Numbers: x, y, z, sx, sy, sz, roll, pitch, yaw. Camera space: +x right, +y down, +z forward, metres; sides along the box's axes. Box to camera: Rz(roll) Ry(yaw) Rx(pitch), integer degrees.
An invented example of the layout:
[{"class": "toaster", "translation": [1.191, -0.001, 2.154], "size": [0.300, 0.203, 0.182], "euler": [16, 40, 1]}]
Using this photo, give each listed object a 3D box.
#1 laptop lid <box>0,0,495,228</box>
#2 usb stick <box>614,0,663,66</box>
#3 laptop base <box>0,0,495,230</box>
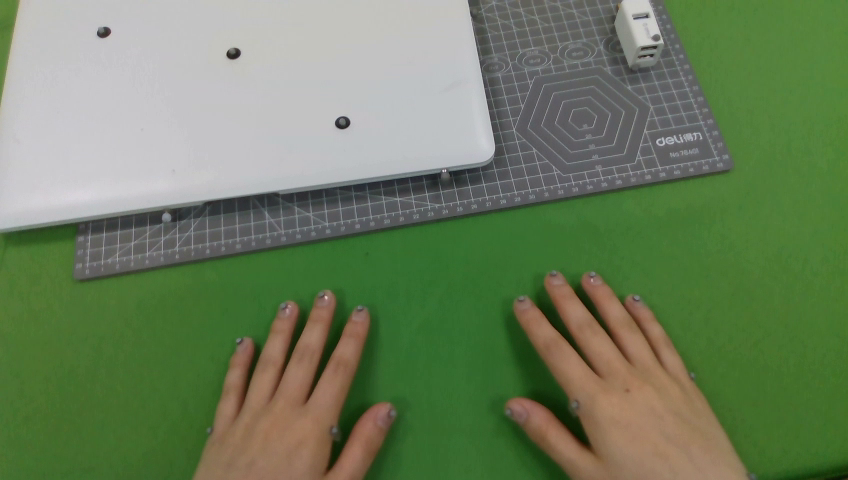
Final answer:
[{"class": "laptop lid", "translation": [-0.138, -0.136, 0.448], "size": [0.357, 0.013, 0.240], "euler": [-6, 68, 0]}, {"class": "usb stick", "translation": [0.157, -0.161, 0.450], "size": [0.021, 0.027, 0.058], "euler": [-8, 63, 1]}, {"class": "laptop base", "translation": [-0.138, -0.133, 0.460], "size": [0.354, 0.023, 0.233], "euler": [-8, 69, 0]}]
